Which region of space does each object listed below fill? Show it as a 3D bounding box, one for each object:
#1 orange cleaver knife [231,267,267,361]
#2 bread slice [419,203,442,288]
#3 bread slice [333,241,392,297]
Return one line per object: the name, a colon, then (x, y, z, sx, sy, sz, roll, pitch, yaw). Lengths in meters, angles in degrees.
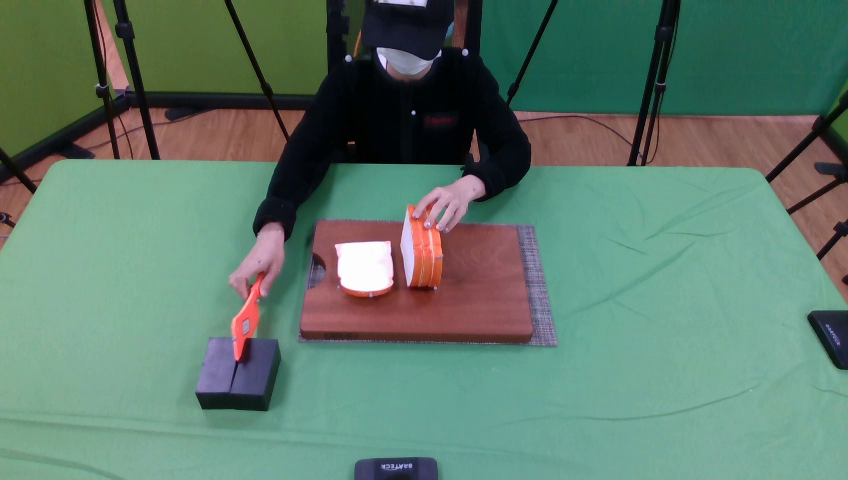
orange cleaver knife: (-0.292, 0.119, 1.019, 0.012, 0.077, 0.210, -1, 27, 0)
bread slice: (0.010, 0.018, 1.089, 0.018, 0.107, 0.133, -3, 54, -9)
bread slice: (-0.110, 0.052, 1.096, 0.105, 0.019, 0.130, -2, 43, -8)
